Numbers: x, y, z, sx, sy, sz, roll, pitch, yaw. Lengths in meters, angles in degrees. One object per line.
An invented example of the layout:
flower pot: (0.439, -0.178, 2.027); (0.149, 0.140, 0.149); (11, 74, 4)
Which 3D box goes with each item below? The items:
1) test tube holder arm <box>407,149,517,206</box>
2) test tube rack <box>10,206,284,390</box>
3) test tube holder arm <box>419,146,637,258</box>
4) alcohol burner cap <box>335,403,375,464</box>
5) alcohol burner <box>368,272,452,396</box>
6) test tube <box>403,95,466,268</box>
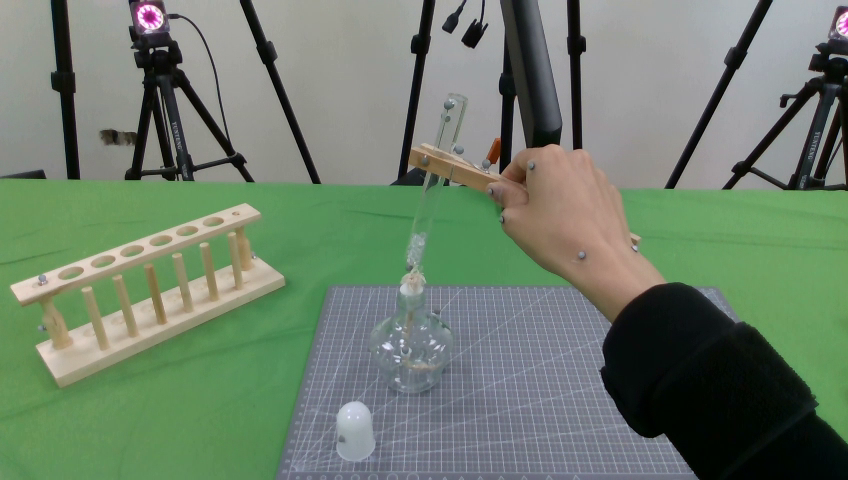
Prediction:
test tube holder arm: (0.028, -0.047, 0.451); (0.087, 0.015, 0.010); (22, 31, 15)
test tube rack: (-0.273, 0.050, 0.632); (0.243, 0.086, 0.066); (-26, 39, -36)
test tube holder arm: (0.069, -0.031, 0.441); (0.177, 0.015, 0.013); (27, 33, 22)
alcohol burner cap: (-0.058, 0.155, 0.493); (0.034, 0.048, 0.033); (0, 31, 0)
alcohol burner: (-0.013, 0.081, 0.548); (0.078, 0.120, 0.077); (0, 29, 0)
test tube: (0.006, -0.040, 0.473); (0.017, 0.151, 0.017); (12, 31, -7)
